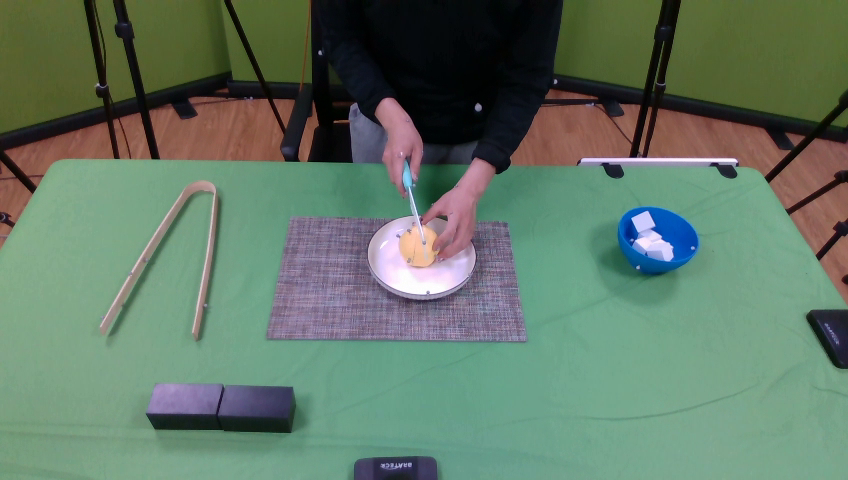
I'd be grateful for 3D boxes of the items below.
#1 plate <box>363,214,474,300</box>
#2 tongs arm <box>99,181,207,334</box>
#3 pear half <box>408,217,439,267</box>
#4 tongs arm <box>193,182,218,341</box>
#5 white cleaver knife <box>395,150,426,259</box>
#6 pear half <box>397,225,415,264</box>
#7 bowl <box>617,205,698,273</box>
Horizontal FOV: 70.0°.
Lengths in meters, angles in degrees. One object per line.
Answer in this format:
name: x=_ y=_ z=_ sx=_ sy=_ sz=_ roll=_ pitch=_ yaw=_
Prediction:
plate: x=-0.010 y=0.036 z=1.147 sx=0.208 sy=0.039 sz=0.206 roll=2 pitch=46 yaw=-2
tongs arm: x=-0.493 y=0.018 z=1.132 sx=0.051 sy=0.026 sz=0.382 roll=7 pitch=45 yaw=0
pear half: x=0.001 y=-0.001 z=1.120 sx=0.056 sy=0.110 sz=0.076 roll=-2 pitch=48 yaw=-14
tongs arm: x=-0.413 y=0.025 z=1.140 sx=0.028 sy=0.028 sz=0.385 roll=-5 pitch=47 yaw=-7
white cleaver knife: x=-0.026 y=-0.071 z=1.102 sx=0.021 sy=0.066 sz=0.284 roll=-9 pitch=41 yaw=-4
pear half: x=-0.034 y=0.006 z=1.124 sx=0.031 sy=0.088 sz=0.070 roll=-3 pitch=50 yaw=-8
bowl: x=0.442 y=0.011 z=1.181 sx=0.151 sy=0.077 sz=0.150 roll=2 pitch=46 yaw=-2
